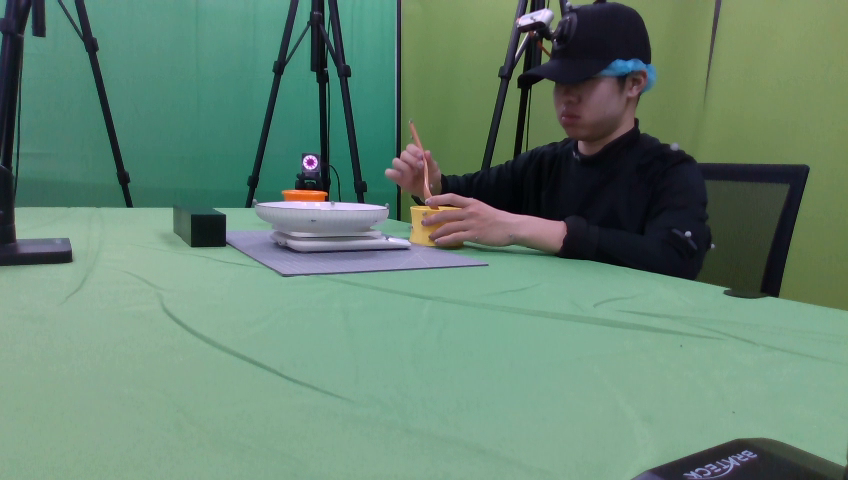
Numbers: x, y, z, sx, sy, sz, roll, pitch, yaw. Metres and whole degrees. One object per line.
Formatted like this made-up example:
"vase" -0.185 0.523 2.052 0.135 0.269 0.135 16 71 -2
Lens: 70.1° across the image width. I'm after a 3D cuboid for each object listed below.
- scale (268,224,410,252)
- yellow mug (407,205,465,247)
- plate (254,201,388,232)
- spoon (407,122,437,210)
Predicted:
"scale" -0.137 -0.006 0.979 0.202 0.031 0.148 -1 8 -30
"yellow mug" 0.027 -0.027 1.105 0.099 0.064 0.131 7 7 20
"plate" -0.161 -0.037 0.961 0.209 0.038 0.209 2 6 0
"spoon" -0.003 -0.133 1.111 0.021 0.193 0.041 -12 -20 0
